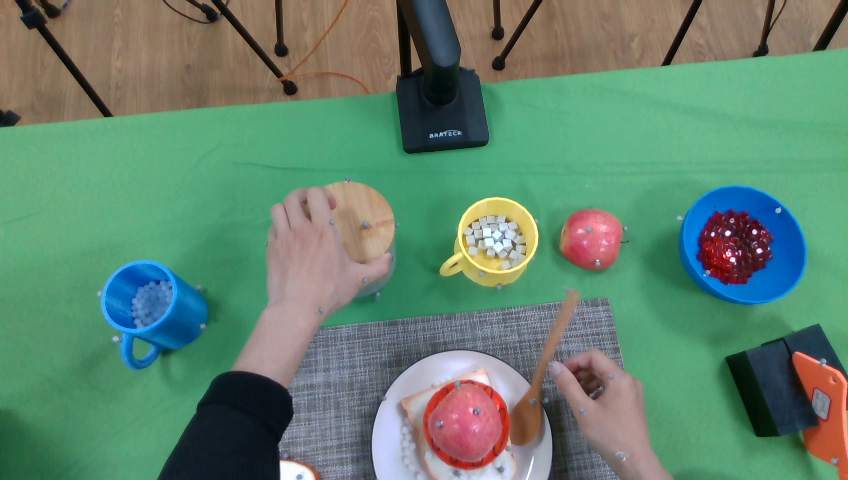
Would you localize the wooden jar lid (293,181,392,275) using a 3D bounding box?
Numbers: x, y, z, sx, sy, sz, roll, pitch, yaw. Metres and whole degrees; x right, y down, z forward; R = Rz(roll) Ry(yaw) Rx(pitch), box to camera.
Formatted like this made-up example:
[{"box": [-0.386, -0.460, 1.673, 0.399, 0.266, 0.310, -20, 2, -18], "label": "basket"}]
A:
[{"box": [-0.088, -0.012, 0.667, 0.108, 0.021, 0.107, 0, 70, 0], "label": "wooden jar lid"}]

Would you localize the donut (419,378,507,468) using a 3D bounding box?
[{"box": [0.044, 0.203, 0.677, 0.099, 0.048, 0.098, 1, 70, -2], "label": "donut"}]

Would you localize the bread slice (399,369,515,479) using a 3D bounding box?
[{"box": [0.045, 0.228, 0.702, 0.107, 0.018, 0.133, -22, 72, -8], "label": "bread slice"}]

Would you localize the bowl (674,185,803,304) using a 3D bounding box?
[{"box": [0.380, 0.015, 0.762, 0.151, 0.077, 0.150, 0, 72, -1], "label": "bowl"}]

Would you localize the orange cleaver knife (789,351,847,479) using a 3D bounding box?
[{"box": [0.460, 0.230, 0.691, 0.012, 0.077, 0.211, -16, 94, -14], "label": "orange cleaver knife"}]

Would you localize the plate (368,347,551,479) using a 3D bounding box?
[{"box": [0.040, 0.229, 0.698, 0.208, 0.039, 0.206, 1, 72, -1], "label": "plate"}]

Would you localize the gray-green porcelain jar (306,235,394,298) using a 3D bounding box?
[{"box": [-0.089, 0.009, 0.725, 0.106, 0.127, 0.105, 1, 71, -1], "label": "gray-green porcelain jar"}]

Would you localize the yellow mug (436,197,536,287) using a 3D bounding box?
[{"box": [0.073, 0.011, 0.761, 0.131, 0.064, 0.099, -29, 74, -10], "label": "yellow mug"}]

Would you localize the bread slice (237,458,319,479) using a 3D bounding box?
[{"box": [-0.170, 0.312, 0.676, 0.105, 0.019, 0.130, 1, 73, -2], "label": "bread slice"}]

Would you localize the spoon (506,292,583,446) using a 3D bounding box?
[{"box": [0.137, 0.146, 0.682, 0.041, 0.022, 0.194, 35, 112, 45], "label": "spoon"}]

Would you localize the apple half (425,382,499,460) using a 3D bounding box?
[{"box": [0.042, 0.194, 0.643, 0.081, 0.033, 0.081, -1, 76, 4], "label": "apple half"}]

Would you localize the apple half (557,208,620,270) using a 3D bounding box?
[{"box": [0.214, -0.007, 0.778, 0.074, 0.053, 0.080, 15, 72, 6], "label": "apple half"}]

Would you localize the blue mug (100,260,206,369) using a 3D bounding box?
[{"box": [-0.316, 0.093, 0.701, 0.082, 0.106, 0.116, 14, 72, 3], "label": "blue mug"}]
